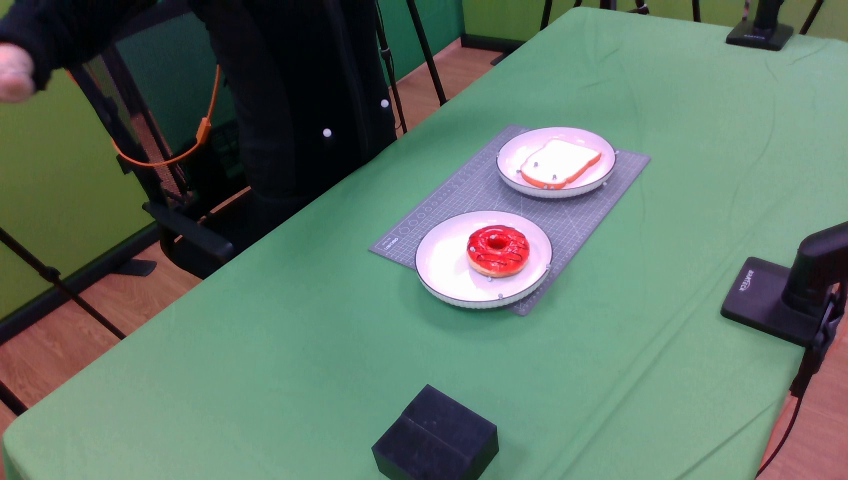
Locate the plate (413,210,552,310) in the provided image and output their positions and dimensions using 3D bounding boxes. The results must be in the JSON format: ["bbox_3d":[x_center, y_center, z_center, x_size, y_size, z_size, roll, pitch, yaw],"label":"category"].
[{"bbox_3d":[0.088,0.033,0.914,0.207,0.039,0.206,-5,40,5],"label":"plate"}]

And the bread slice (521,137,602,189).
[{"bbox_3d":[0.242,-0.136,1.085,0.106,0.018,0.134,23,50,34],"label":"bread slice"}]

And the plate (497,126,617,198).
[{"bbox_3d":[0.236,-0.136,1.085,0.209,0.038,0.208,-5,40,5],"label":"plate"}]

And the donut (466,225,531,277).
[{"bbox_3d":[0.112,0.017,0.910,0.099,0.048,0.098,-2,42,2],"label":"donut"}]
